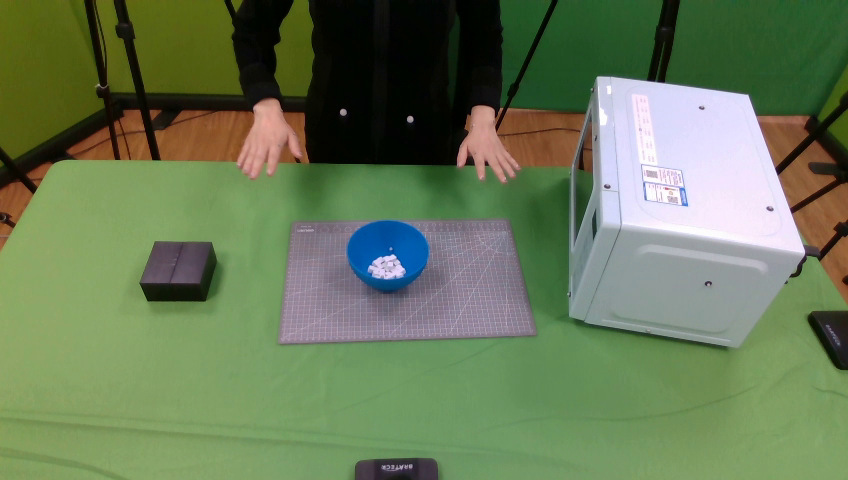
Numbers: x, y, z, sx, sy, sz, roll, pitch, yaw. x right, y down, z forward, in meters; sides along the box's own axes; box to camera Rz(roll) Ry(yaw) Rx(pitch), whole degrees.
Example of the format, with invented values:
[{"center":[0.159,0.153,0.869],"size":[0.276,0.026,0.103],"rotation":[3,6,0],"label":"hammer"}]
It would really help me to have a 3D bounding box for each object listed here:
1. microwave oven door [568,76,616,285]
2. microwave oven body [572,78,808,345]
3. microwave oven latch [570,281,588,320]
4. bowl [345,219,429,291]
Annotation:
[{"center":[0.319,-0.119,1.161],"size":[0.039,0.245,0.354],"rotation":[9,46,5],"label":"microwave oven door"},{"center":[0.456,-0.063,1.125],"size":[0.326,0.261,0.439],"rotation":[8,45,5],"label":"microwave oven body"},{"center":[0.275,0.105,1.082],"size":[0.030,0.029,0.079],"rotation":[9,45,6],"label":"microwave oven latch"},{"center":[-0.068,0.041,1.111],"size":[0.151,0.077,0.150],"rotation":[2,46,-2],"label":"bowl"}]
